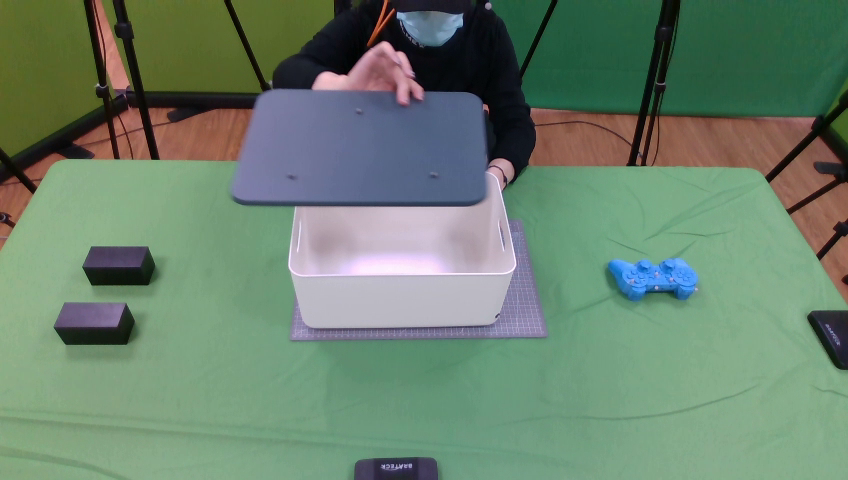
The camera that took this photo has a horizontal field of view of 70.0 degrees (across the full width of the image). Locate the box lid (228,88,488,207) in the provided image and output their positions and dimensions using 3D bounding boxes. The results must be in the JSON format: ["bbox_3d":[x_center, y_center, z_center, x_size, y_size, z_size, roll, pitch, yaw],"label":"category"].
[{"bbox_3d":[-0.089,-0.148,0.917,0.371,0.015,0.261,0,50,1],"label":"box lid"}]

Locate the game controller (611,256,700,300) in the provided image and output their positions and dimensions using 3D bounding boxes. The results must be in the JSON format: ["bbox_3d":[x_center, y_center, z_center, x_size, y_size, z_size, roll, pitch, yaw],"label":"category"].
[{"bbox_3d":[0.441,0.062,1.144,0.155,0.052,0.096,-1,50,-4],"label":"game controller"}]

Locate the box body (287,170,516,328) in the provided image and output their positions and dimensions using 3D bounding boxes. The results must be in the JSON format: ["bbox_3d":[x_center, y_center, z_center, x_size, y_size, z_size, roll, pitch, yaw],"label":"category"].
[{"bbox_3d":[-0.040,0.015,1.075,0.364,0.161,0.252,-1,47,-4],"label":"box body"}]
